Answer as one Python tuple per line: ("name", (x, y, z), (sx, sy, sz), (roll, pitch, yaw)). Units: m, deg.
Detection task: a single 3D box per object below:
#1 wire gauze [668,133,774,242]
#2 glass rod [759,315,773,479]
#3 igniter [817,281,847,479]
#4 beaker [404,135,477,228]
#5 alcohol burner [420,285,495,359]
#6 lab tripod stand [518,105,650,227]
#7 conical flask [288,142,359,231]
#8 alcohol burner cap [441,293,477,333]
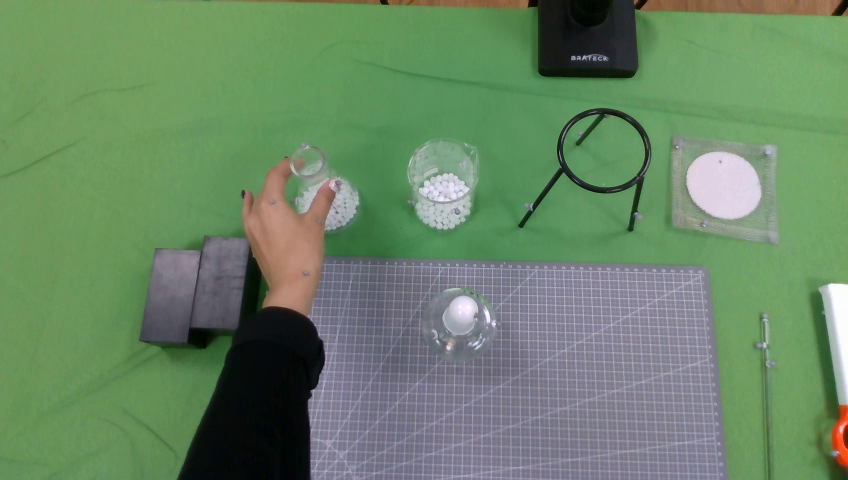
("wire gauze", (0.347, -0.065, 0.705), (0.125, 0.011, 0.121), (9, 75, 2))
("glass rod", (0.357, 0.176, 0.633), (0.008, 0.008, 0.198), (6, 73, 3))
("igniter", (0.441, 0.178, 0.621), (0.057, 0.025, 0.275), (5, 73, -8))
("beaker", (0.021, -0.061, 0.664), (0.084, 0.101, 0.073), (-38, 76, -10))
("alcohol burner", (0.035, 0.079, 0.612), (0.078, 0.120, 0.077), (0, 72, 0))
("lab tripod stand", (0.172, -0.070, 0.645), (0.148, 0.132, 0.147), (0, 75, 2))
("conical flask", (-0.114, -0.062, 0.655), (0.075, 0.122, 0.075), (0, 73, 2))
("alcohol burner cap", (0.035, 0.067, 0.578), (0.034, 0.048, 0.033), (3, 67, -6))
